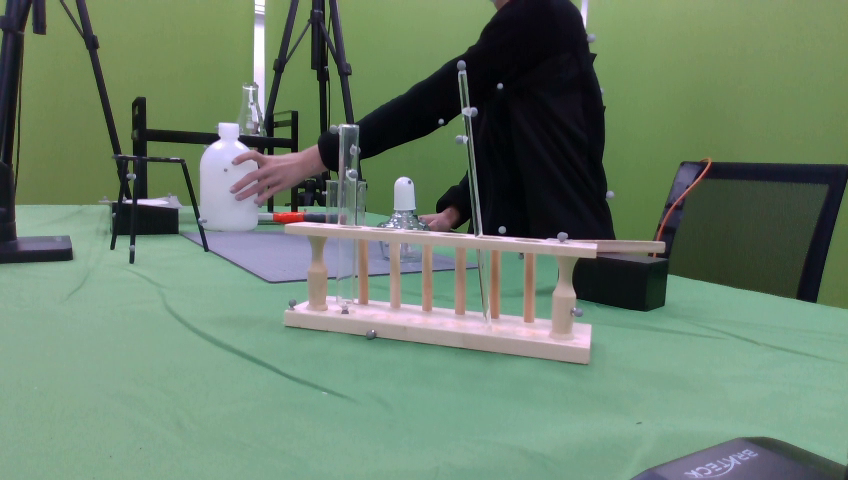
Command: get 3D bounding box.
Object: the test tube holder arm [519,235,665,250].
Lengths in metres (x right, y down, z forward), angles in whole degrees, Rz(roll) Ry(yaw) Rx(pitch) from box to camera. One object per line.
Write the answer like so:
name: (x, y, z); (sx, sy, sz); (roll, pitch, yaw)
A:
test tube holder arm: (0.186, 0.003, 0.656); (0.179, 0.015, 0.013); (-1, 16, -19)

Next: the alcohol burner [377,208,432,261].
alcohol burner: (-0.027, -0.031, 0.838); (0.078, 0.119, 0.078); (0, 6, 0)

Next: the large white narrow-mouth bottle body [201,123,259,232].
large white narrow-mouth bottle body: (-0.358, -0.116, 1.116); (0.102, 0.194, 0.102); (2, 8, 0)

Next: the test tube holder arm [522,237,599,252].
test tube holder arm: (0.144, 0.005, 0.636); (0.088, 0.015, 0.010); (-1, 16, -19)

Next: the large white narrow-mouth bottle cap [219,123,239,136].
large white narrow-mouth bottle cap: (-0.356, -0.201, 1.105); (0.038, 0.024, 0.037); (2, 8, 0)

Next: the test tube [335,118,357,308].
test tube: (-0.061, -0.019, 0.476); (0.017, 0.150, 0.017); (2, 11, 0)

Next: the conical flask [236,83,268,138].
conical flask: (-0.400, -0.298, 1.396); (0.075, 0.122, 0.075); (2, 8, 0)

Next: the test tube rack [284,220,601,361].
test tube rack: (0.013, 0.032, 0.482); (0.242, 0.085, 0.067); (4, 7, 16)

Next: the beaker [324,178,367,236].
beaker: (-0.139, -0.060, 1.083); (0.074, 0.100, 0.083); (-3, 10, -31)

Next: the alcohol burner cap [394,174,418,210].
alcohol burner cap: (-0.026, -0.067, 0.833); (0.034, 0.048, 0.034); (-1, 12, 1)

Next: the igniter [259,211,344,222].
igniter: (-0.302, -0.047, 1.248); (0.278, 0.025, 0.057); (-2, -1, -28)

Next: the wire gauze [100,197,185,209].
wire gauze: (-0.469, -0.062, 1.008); (0.126, 0.011, 0.121); (-2, 8, -25)

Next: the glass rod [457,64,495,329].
glass rod: (0.039, -0.028, 0.449); (0.008, 0.199, 0.008); (-7, 9, 1)

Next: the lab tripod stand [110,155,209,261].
lab tripod stand: (-0.361, -0.046, 0.806); (0.148, 0.131, 0.148); (2, 5, 0)
